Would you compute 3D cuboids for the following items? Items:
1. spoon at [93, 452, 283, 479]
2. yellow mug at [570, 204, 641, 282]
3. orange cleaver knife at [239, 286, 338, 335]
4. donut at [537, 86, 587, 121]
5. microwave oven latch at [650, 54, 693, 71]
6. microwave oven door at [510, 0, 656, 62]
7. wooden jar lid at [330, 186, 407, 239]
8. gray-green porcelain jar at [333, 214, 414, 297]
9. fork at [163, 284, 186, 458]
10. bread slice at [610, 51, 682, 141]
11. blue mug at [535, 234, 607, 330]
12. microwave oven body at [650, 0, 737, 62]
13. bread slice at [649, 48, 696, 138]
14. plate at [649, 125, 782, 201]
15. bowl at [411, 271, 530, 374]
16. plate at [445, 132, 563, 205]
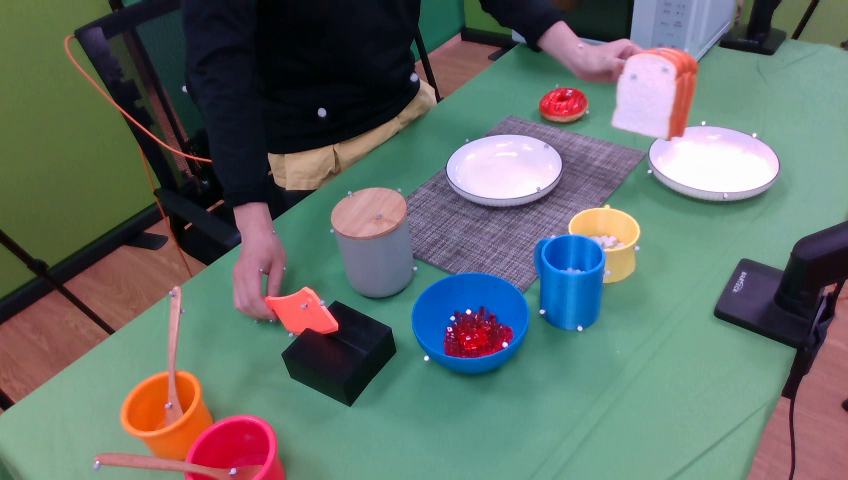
[{"bbox_3d":[-0.240,0.239,0.632,0.195,0.021,0.041,26,33,-32],"label":"spoon"},{"bbox_3d":[0.268,-0.005,0.904,0.099,0.064,0.130,7,41,15],"label":"yellow mug"},{"bbox_3d":[-0.188,0.098,0.824,0.210,0.077,0.012,-7,27,47],"label":"orange cleaver knife"},{"bbox_3d":[0.283,-0.280,1.239,0.099,0.048,0.098,-5,43,5],"label":"donut"},{"bbox_3d":[0.531,-0.386,1.301,0.078,0.029,0.030,26,51,33],"label":"microwave oven latch"},{"bbox_3d":[0.350,-0.539,1.348,0.353,0.245,0.039,24,50,31],"label":"microwave oven door"},{"bbox_3d":[-0.077,-0.035,0.846,0.108,0.021,0.108,-5,41,5],"label":"wooden jar lid"},{"bbox_3d":[-0.071,0.012,0.887,0.106,0.127,0.105,-4,41,4],"label":"gray-green porcelain jar"},{"bbox_3d":[-0.302,0.157,0.733,0.028,0.019,0.207,-3,84,15],"label":"fork"},{"bbox_3d":[0.349,-0.231,0.956,0.104,0.132,0.019,25,38,37],"label":"bread slice"},{"bbox_3d":[0.191,0.048,0.824,0.082,0.106,0.115,-26,44,-20],"label":"blue mug"},{"bbox_3d":[0.475,-0.602,1.411,0.438,0.261,0.327,23,50,32],"label":"microwave oven body"},{"bbox_3d":[0.386,-0.243,0.988,0.018,0.134,0.106,-20,40,-41],"label":"bread slice"},{"bbox_3d":[0.493,-0.127,1.036,0.207,0.039,0.206,-4,41,4],"label":"plate"},{"bbox_3d":[0.062,0.120,0.780,0.151,0.077,0.150,-4,40,4],"label":"bowl"},{"bbox_3d":[0.142,-0.123,1.076,0.209,0.038,0.208,-4,41,4],"label":"plate"}]
